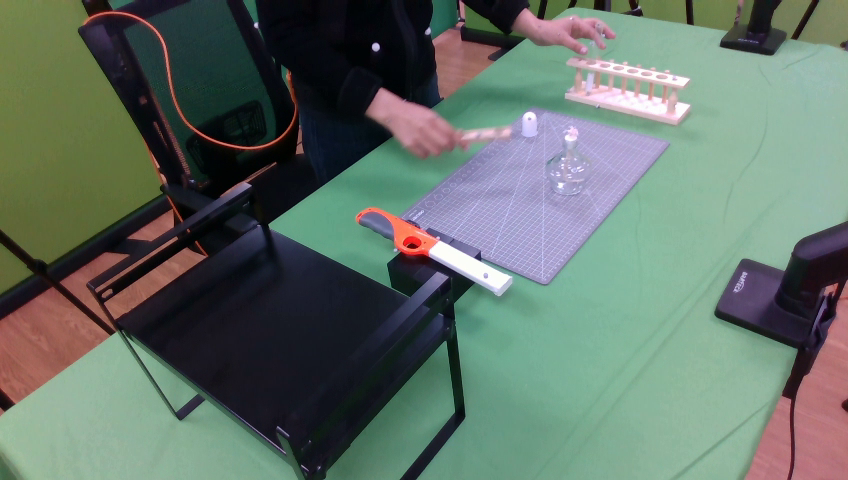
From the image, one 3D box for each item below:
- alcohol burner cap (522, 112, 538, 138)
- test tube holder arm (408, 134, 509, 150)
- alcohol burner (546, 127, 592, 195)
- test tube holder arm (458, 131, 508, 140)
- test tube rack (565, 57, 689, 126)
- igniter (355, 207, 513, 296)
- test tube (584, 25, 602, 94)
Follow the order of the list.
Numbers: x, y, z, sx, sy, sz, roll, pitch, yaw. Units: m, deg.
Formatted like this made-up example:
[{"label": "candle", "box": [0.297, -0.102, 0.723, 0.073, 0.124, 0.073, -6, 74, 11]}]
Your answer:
[{"label": "alcohol burner cap", "box": [0.210, -0.230, 1.195, 0.034, 0.048, 0.033, -5, 41, 5]}, {"label": "test tube holder arm", "box": [0.060, -0.173, 1.064, 0.178, 0.015, 0.013, -5, 53, 3]}, {"label": "alcohol burner", "box": [0.246, -0.137, 1.024, 0.078, 0.119, 0.077, -4, 38, 4]}, {"label": "test tube holder arm", "box": [0.105, -0.181, 1.065, 0.088, 0.015, 0.010, -4, 53, 4]}, {"label": "test tube rack", "box": [0.412, -0.311, 1.231, 0.240, 0.085, 0.067, 23, 49, 32]}, {"label": "igniter", "box": [0.006, 0.010, 0.885, 0.274, 0.025, 0.057, 27, 53, 30]}, {"label": "test tube", "box": [0.341, -0.362, 1.225, 0.017, 0.151, 0.017, -2, 45, 2]}]
